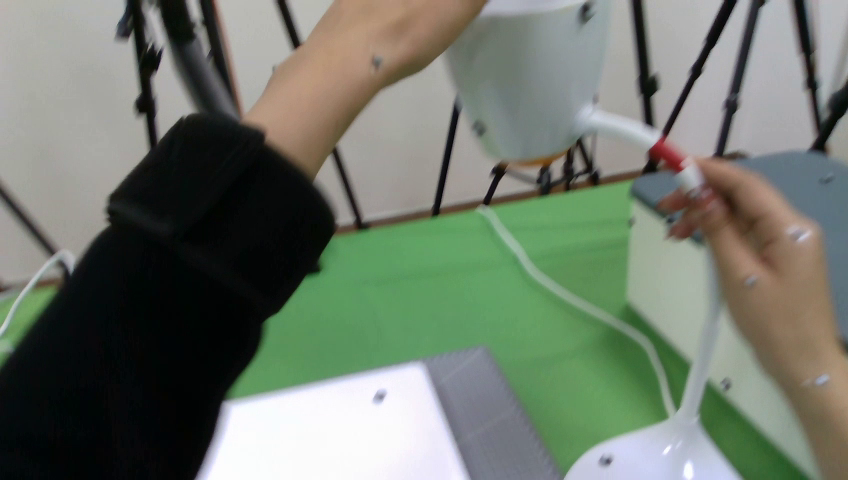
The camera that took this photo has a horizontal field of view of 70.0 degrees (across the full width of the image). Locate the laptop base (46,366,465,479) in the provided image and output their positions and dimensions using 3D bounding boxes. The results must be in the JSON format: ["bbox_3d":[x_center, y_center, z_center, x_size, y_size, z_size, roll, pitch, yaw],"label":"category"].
[{"bbox_3d":[-0.142,0.225,0.510,0.355,0.023,0.233,-10,35,-11],"label":"laptop base"}]

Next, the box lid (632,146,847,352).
[{"bbox_3d":[0.394,-0.002,0.552,0.264,0.015,0.367,-11,32,-13],"label":"box lid"}]

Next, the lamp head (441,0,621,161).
[{"bbox_3d":[0.075,-0.114,0.397,0.112,0.124,0.111,-10,32,7],"label":"lamp head"}]

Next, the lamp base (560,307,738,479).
[{"bbox_3d":[0.185,0.149,0.445,0.160,0.181,0.178,10,30,20],"label":"lamp base"}]

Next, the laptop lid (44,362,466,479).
[{"bbox_3d":[-0.143,0.216,0.502,0.357,0.013,0.239,-9,34,-10],"label":"laptop lid"}]

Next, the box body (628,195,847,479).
[{"bbox_3d":[0.398,0.063,0.589,0.255,0.162,0.360,-11,32,-13],"label":"box body"}]
